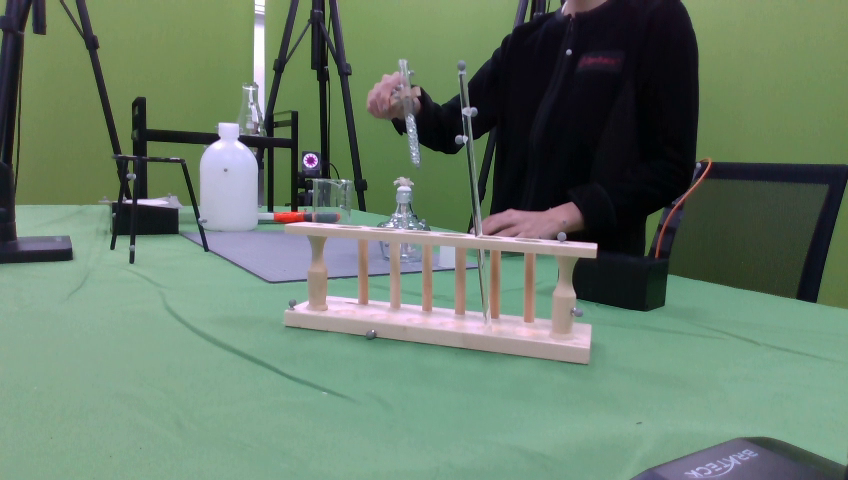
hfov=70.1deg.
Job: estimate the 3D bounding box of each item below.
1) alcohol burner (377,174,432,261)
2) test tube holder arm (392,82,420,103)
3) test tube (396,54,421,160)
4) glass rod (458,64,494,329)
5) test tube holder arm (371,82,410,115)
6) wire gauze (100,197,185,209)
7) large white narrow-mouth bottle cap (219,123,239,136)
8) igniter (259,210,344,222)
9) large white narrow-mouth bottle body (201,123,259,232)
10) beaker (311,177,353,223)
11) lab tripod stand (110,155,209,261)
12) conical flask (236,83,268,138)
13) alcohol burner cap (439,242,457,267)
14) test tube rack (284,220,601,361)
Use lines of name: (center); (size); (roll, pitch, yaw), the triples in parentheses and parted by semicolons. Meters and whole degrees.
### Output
alcohol burner: (-0.027, -0.031, 0.838); (0.078, 0.119, 0.078); (0, 6, 0)
test tube holder arm: (-0.031, -0.215, 0.885); (0.010, 0.015, 0.087); (-5, 2, -29)
test tube: (-0.022, -0.189, 0.863); (0.017, 0.150, 0.017); (-8, 2, 1)
glass rod: (0.039, -0.029, 0.449); (0.008, 0.199, 0.008); (-7, 9, 1)
test tube holder arm: (-0.054, -0.214, 0.923); (0.013, 0.015, 0.177); (-4, 2, -22)
wire gauze: (-0.469, -0.062, 1.008); (0.126, 0.011, 0.121); (-2, 8, -25)
large white narrow-mouth bottle cap: (-0.356, -0.201, 1.104); (0.038, 0.024, 0.037); (2, 8, 0)
igniter: (-0.303, -0.049, 1.258); (0.278, 0.025, 0.057); (-2, -2, -28)
large white narrow-mouth bottle body: (-0.358, -0.116, 1.116); (0.102, 0.194, 0.102); (2, 8, 0)
beaker: (-0.167, -0.064, 1.106); (0.074, 0.100, 0.083); (-2, 9, -27)
lab tripod stand: (-0.361, -0.046, 0.806); (0.148, 0.131, 0.148); (2, 5, 0)
conical flask: (-0.400, -0.298, 1.396); (0.075, 0.122, 0.075); (2, 8, 0)
alcohol burner cap: (0.037, 0.011, 0.807); (0.034, 0.048, 0.034); (4, 8, 0)
test tube rack: (0.013, 0.032, 0.482); (0.242, 0.085, 0.067); (4, 7, 16)
